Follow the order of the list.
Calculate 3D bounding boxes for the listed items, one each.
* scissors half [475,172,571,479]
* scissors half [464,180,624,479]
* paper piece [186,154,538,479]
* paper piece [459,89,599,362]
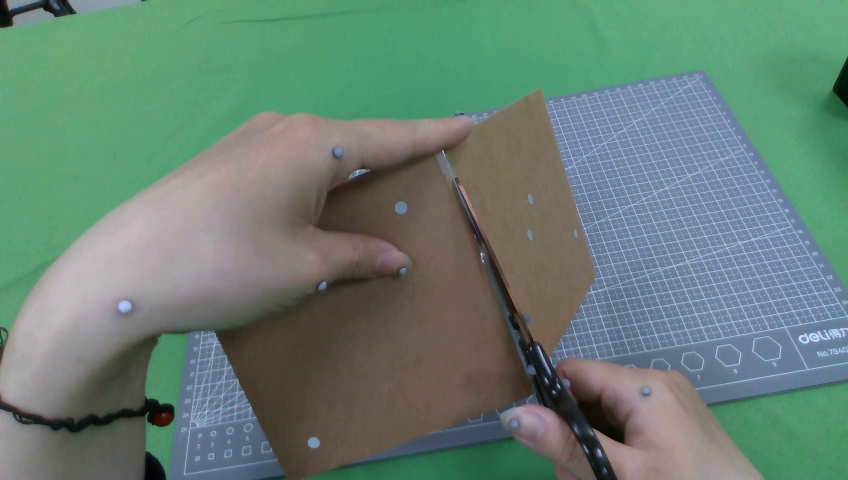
[{"bbox_3d":[0.049,0.051,0.301,0.013,0.176,0.040,-19,15,-11],"label":"scissors half"},{"bbox_3d":[0.053,0.049,0.279,0.013,0.040,0.174,-19,75,-15],"label":"scissors half"},{"bbox_3d":[-0.033,0.045,0.296,0.138,0.008,0.136,-20,92,11],"label":"paper piece"},{"bbox_3d":[0.069,-0.009,0.346,0.004,0.136,0.135,-9,17,33],"label":"paper piece"}]
